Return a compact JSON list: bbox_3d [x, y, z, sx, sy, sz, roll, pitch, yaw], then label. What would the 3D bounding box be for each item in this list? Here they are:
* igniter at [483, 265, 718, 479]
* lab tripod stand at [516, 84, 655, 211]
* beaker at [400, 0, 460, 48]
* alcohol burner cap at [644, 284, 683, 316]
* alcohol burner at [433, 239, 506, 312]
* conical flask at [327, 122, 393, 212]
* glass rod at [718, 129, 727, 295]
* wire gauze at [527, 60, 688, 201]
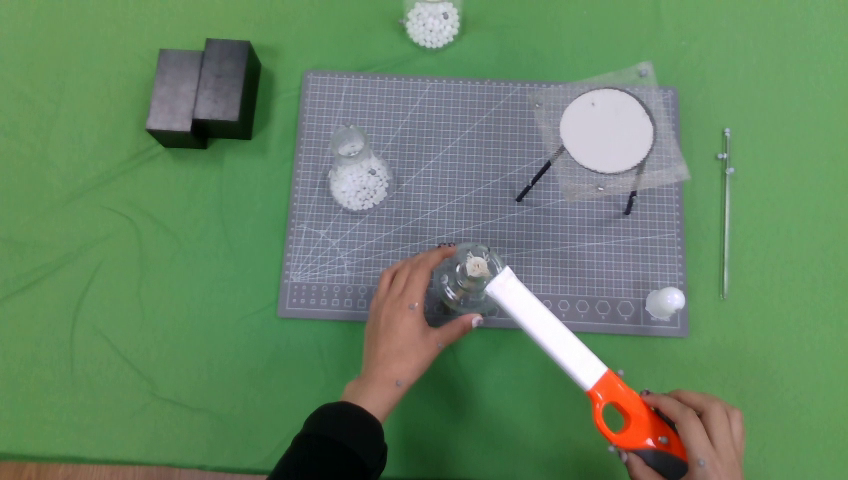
[{"bbox_3d":[0.159,0.131,0.540,0.057,0.025,0.276,-43,85,-14],"label":"igniter"},{"bbox_3d":[0.173,-0.090,0.638,0.148,0.132,0.147,0,78,1],"label":"lab tripod stand"},{"bbox_3d":[0.009,-0.279,0.703,0.084,0.100,0.073,-37,79,-9],"label":"beaker"},{"bbox_3d":[0.260,0.062,0.649,0.034,0.048,0.033,0,77,-1],"label":"alcohol burner cap"},{"bbox_3d":[0.049,0.034,0.619,0.078,0.119,0.077,0,77,-1],"label":"alcohol burner"},{"bbox_3d":[-0.073,-0.081,0.641,0.075,0.122,0.075,0,76,0],"label":"conical flask"},{"bbox_3d":[0.341,-0.035,0.693,0.008,0.008,0.199,7,77,2],"label":"glass rod"},{"bbox_3d":[0.172,-0.103,0.572,0.125,0.011,0.121,-13,77,-3],"label":"wire gauze"}]
